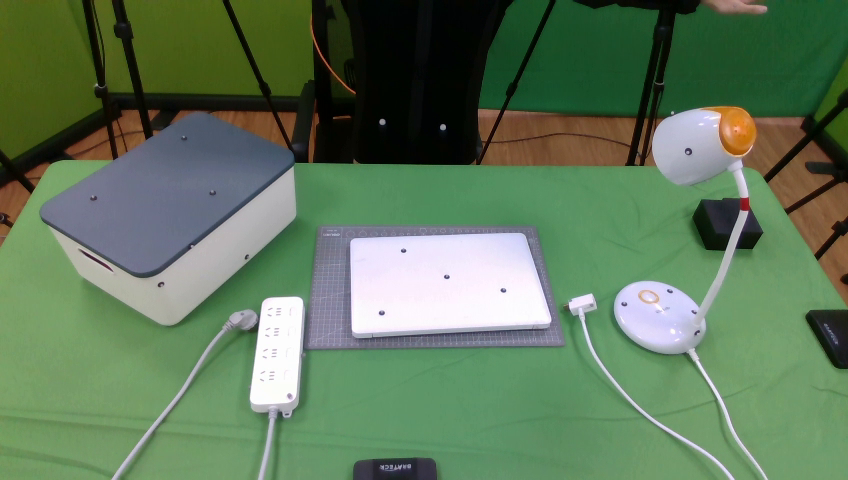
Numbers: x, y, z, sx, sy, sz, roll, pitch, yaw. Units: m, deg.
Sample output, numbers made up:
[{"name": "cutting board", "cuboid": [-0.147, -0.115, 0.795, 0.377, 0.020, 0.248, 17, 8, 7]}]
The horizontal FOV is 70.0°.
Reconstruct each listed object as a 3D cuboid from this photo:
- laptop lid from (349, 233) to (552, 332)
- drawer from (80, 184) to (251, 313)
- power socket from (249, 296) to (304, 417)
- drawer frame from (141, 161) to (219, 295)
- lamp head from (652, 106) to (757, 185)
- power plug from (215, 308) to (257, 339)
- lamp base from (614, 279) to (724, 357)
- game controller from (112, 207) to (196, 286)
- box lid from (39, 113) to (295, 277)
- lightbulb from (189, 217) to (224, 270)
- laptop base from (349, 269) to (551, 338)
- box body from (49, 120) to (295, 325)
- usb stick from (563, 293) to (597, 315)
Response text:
[{"name": "laptop lid", "cuboid": [0.040, 0.070, 1.119, 0.357, 0.013, 0.240, -1, 44, -5]}, {"name": "drawer", "cuboid": [-0.456, 0.009, 1.089, 0.194, 0.073, 0.211, 26, 44, 16]}, {"name": "power socket", "cuboid": [-0.239, 0.182, 0.996, 0.072, 0.033, 0.225, -2, 47, -5]}, {"name": "drawer frame", "cuboid": [-0.435, -0.030, 1.068, 0.083, 0.214, 0.201, -11, 12, -31]}, {"name": "lamp head", "cuboid": [0.410, -0.139, 0.869, 0.113, 0.122, 0.112, 0, 89, -19]}, {"name": "power plug", "cuboid": [-0.317, 0.143, 1.024, 0.072, 0.053, 0.035, -32, 58, -9]}, {"name": "lamp base", "cuboid": [0.436, 0.090, 1.034, 0.161, 0.181, 0.178, -23, 55, -23]}, {"name": "game controller", "cuboid": [-0.465, 0.003, 1.042, 0.097, 0.052, 0.154, 7, 47, 0]}, {"name": "box lid", "cuboid": [-0.435, -0.096, 1.056, 0.262, 0.015, 0.370, 25, 48, 18]}, {"name": "lightbulb", "cuboid": [-0.406, 0.007, 1.114, 0.059, 0.060, 0.107, 8, 59, 3]}, {"name": "laptop base", "cuboid": [0.039, 0.080, 1.125, 0.355, 0.023, 0.234, -2, 43, -6]}, {"name": "box body", "cuboid": [-0.437, -0.046, 1.110, 0.253, 0.161, 0.363, 24, 49, 19]}, {"name": "usb stick", "cuboid": [0.280, 0.118, 1.093, 0.059, 0.021, 0.027, -18, 35, 25]}]
